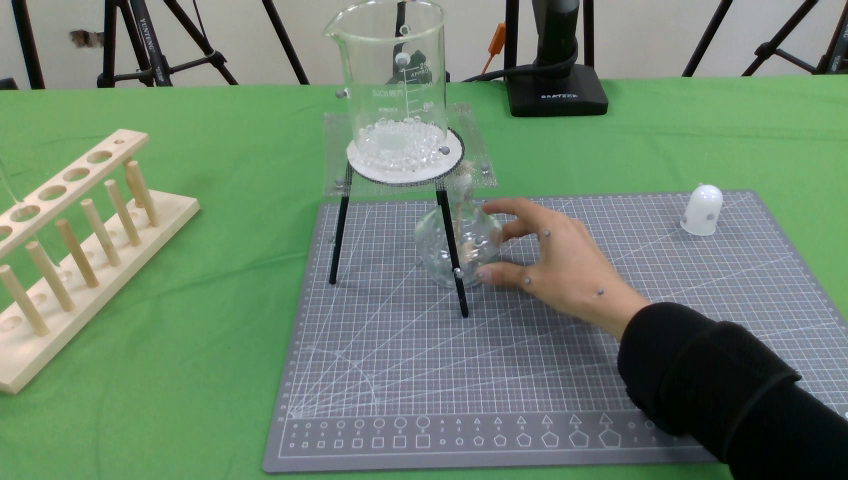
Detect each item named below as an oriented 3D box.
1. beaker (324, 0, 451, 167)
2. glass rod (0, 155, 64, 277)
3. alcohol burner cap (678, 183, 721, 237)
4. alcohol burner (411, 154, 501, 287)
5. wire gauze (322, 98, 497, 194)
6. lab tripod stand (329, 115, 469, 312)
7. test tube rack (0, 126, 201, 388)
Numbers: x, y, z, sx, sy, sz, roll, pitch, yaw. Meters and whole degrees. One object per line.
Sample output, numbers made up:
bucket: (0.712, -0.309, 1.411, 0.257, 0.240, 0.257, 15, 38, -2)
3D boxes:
beaker: (-0.022, -0.109, 0.426, 0.084, 0.101, 0.073, -5, 41, -2)
glass rod: (-0.333, -0.050, 0.484, 0.008, 0.201, 0.008, -4, 35, 3)
alcohol burner cap: (0.261, -0.031, 0.571, 0.034, 0.048, 0.033, -1, 41, 1)
alcohol burner: (0.027, -0.019, 0.511, 0.078, 0.120, 0.077, -2, 39, 2)
wire gauze: (-0.016, -0.072, 0.458, 0.125, 0.011, 0.120, -7, 39, -1)
lab tripod stand: (-0.014, -0.023, 0.501, 0.148, 0.133, 0.147, -2, 43, 2)
test tube rack: (-0.303, 0.001, 0.526, 0.066, 0.086, 0.241, 12, 43, 15)
